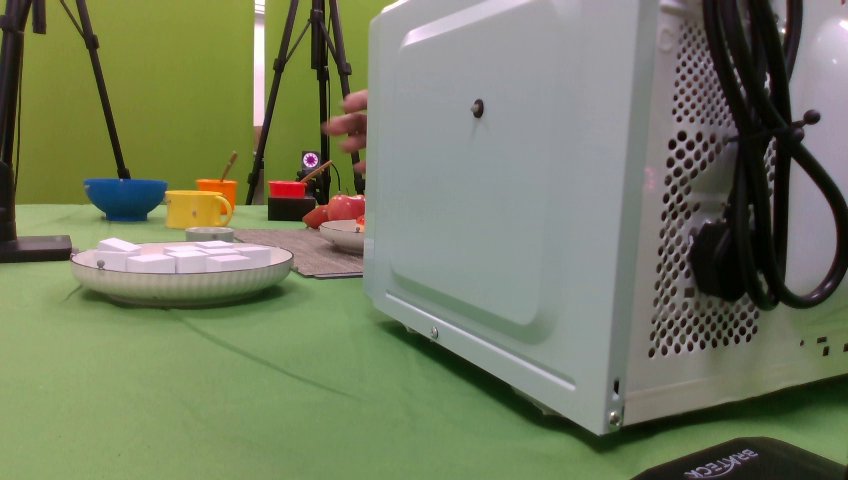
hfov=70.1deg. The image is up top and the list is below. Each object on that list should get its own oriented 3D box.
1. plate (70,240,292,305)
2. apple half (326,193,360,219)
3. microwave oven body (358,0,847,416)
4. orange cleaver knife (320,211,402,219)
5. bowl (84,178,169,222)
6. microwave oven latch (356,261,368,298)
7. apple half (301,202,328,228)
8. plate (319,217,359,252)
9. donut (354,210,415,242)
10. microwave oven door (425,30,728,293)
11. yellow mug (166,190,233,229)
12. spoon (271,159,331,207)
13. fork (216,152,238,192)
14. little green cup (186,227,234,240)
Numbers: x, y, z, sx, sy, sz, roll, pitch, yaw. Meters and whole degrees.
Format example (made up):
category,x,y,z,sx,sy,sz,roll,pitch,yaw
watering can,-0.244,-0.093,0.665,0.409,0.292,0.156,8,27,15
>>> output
category,x,y,z,sx,sy,sz,roll,pitch,yaw
plate,-0.242,0.032,0.618,0.208,0.039,0.207,2,8,0
apple half,-0.135,-0.047,1.089,0.081,0.074,0.053,5,10,-12
microwave oven body,0.211,-0.047,0.474,0.444,0.260,0.324,-1,8,-28
orange cleaver knife,-0.142,-0.057,1.394,0.077,0.012,0.212,2,6,44
bowl,-0.584,-0.078,1.194,0.151,0.077,0.151,3,8,0
microwave oven latch,-0.019,0.033,0.530,0.079,0.029,0.030,0,7,-26
apple half,-0.194,-0.043,1.172,0.081,0.032,0.081,-21,-16,-6
plate,-0.059,-0.007,0.939,0.209,0.038,0.209,3,8,0
donut,-0.062,-0.020,0.955,0.099,0.048,0.099,4,7,0
microwave oven door,0.175,-0.075,0.634,0.357,0.243,0.039,-1,8,-24
yellow mug,-0.415,-0.057,1.132,0.130,0.064,0.100,6,8,16
spoon,-0.308,-0.142,1.514,0.193,0.021,0.041,-41,3,8
fork,-0.455,-0.132,1.367,0.028,0.018,0.207,-2,-35,-38
little green cup,-0.284,0.005,0.805,0.061,0.038,0.061,2,8,0
